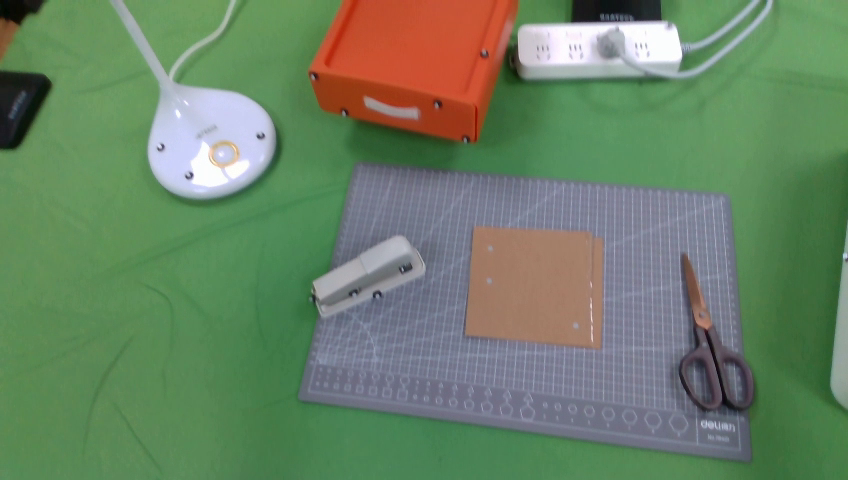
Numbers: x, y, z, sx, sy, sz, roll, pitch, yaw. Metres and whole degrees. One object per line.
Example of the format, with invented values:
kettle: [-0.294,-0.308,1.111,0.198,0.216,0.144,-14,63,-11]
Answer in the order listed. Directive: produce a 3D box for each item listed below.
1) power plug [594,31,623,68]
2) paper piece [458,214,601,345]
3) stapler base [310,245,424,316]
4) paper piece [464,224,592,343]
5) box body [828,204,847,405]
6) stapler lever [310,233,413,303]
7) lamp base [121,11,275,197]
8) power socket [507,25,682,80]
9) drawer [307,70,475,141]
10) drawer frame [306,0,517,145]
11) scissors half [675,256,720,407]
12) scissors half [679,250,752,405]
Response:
power plug: [0.232,-0.233,0.769,0.035,0.053,0.072,10,64,8]
paper piece: [0.120,0.040,0.683,0.135,0.004,0.135,13,66,17]
stapler base: [-0.064,0.040,0.675,0.130,0.024,0.041,-24,61,-7]
paper piece: [0.116,0.044,0.670,0.136,0.009,0.137,3,65,10]
box body: [0.560,0.017,0.572,0.253,0.162,0.362,18,66,12]
stapler lever: [-0.068,0.029,0.653,0.118,0.040,0.026,-24,60,-7]
lamp base: [-0.284,-0.167,0.709,0.178,0.182,0.160,37,70,23]
power socket: [0.226,-0.248,0.803,0.226,0.033,0.071,0,64,4]
drawer: [-0.008,-0.237,0.735,0.194,0.074,0.210,14,64,11]
drawer frame: [-0.008,-0.241,0.740,0.201,0.083,0.212,14,66,11]
scissors half: [0.279,0.087,0.634,0.040,0.013,0.173,9,60,-1]
scissors half: [0.300,0.086,0.635,0.040,0.013,0.173,-9,61,-5]
